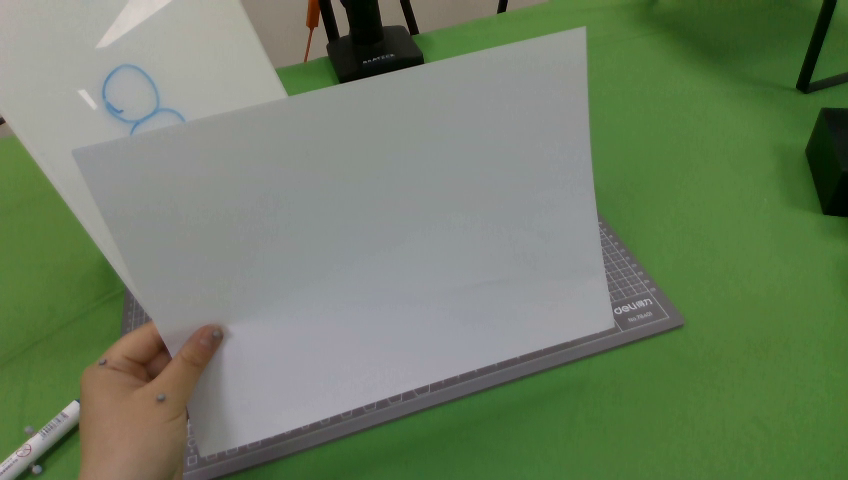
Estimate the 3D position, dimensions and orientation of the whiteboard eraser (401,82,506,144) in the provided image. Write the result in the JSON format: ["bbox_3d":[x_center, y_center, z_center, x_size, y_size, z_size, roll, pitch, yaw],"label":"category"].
[{"bbox_3d":[0.034,-0.145,0.703,0.113,0.042,0.055,-18,46,-10],"label":"whiteboard eraser"}]

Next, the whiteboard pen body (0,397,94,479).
[{"bbox_3d":[-0.305,0.170,0.442,0.017,0.017,0.140,21,49,28],"label":"whiteboard pen body"}]

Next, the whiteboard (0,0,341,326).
[{"bbox_3d":[-0.258,-0.117,0.575,0.217,0.308,0.142,-38,29,-26],"label":"whiteboard"}]
